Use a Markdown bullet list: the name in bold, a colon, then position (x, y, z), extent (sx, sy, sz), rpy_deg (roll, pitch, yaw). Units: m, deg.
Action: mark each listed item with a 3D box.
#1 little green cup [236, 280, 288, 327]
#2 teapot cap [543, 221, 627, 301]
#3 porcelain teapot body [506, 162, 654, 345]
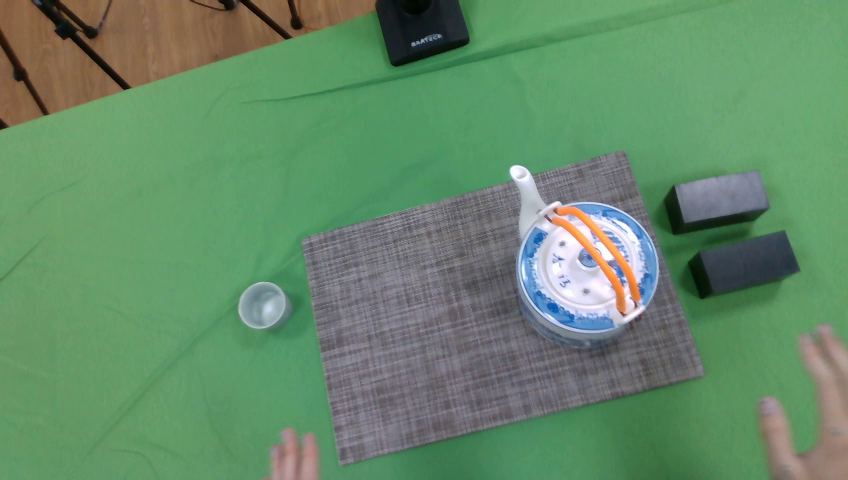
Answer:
- **little green cup**: position (-0.209, 0.086, 0.793), extent (0.061, 0.039, 0.061), rpy_deg (-2, 74, 8)
- **teapot cap**: position (0.164, 0.019, 0.615), extent (0.085, 0.044, 0.084), rpy_deg (-2, 72, 6)
- **porcelain teapot body**: position (0.152, 0.009, 0.661), extent (0.145, 0.227, 0.204), rpy_deg (-37, 72, -3)
